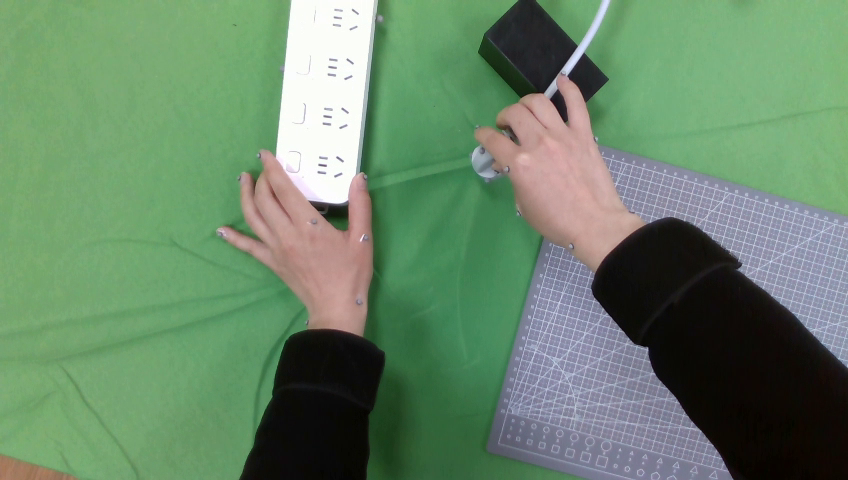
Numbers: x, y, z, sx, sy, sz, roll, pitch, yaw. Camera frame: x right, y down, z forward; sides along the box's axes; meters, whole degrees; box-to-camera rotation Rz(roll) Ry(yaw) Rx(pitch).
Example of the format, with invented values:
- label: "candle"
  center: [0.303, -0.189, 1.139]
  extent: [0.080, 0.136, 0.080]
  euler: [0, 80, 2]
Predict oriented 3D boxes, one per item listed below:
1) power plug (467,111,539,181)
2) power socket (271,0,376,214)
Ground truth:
- label: "power plug"
  center: [0.072, -0.076, 0.526]
  extent: [0.072, 0.053, 0.035]
  euler: [-19, 78, 15]
- label: "power socket"
  center: [-0.087, -0.137, 0.531]
  extent: [0.072, 0.032, 0.226]
  euler: [6, 90, -3]
